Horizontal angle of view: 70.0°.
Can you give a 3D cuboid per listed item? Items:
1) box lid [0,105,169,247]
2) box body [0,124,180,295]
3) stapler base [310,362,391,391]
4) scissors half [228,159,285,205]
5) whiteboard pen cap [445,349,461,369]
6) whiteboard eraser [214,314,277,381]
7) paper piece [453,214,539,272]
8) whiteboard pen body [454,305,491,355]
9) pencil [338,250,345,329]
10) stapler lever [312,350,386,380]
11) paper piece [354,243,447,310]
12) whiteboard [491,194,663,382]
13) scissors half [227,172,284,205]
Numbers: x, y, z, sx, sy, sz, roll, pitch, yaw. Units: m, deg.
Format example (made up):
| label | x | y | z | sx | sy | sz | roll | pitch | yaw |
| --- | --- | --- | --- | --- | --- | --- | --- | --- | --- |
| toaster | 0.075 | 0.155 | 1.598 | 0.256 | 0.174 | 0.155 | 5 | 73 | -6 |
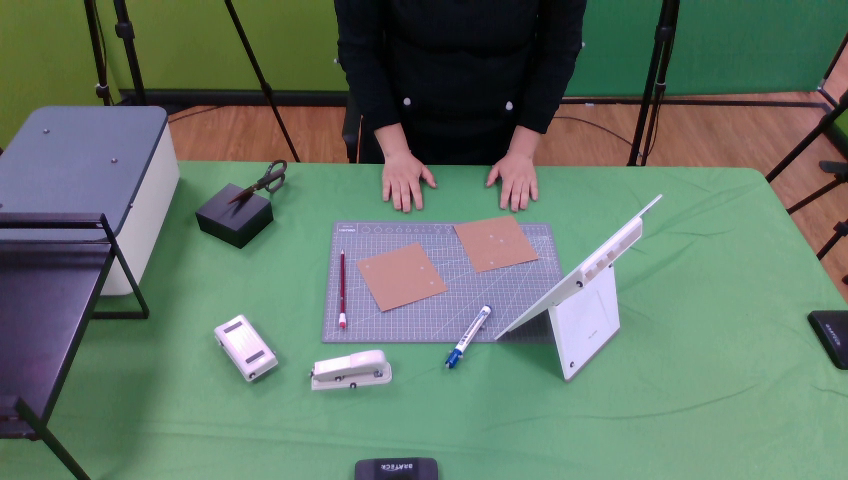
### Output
| label | x | y | z | sx | sy | sz | roll | pitch | yaw |
| --- | --- | --- | --- | --- | --- | --- | --- | --- | --- |
| box lid | -0.624 | -0.125 | 1.067 | 0.263 | 0.015 | 0.369 | 0 | 46 | -3 |
| box body | -0.628 | -0.075 | 1.122 | 0.254 | 0.161 | 0.361 | 1 | 46 | -4 |
| stapler base | -0.119 | 0.215 | 0.981 | 0.131 | 0.024 | 0.041 | -5 | 44 | -7 |
| scissors half | -0.336 | -0.117 | 1.218 | 0.013 | 0.040 | 0.175 | 25 | 46 | 14 |
| whiteboard pen cap | 0.049 | 0.197 | 1.011 | 0.018 | 0.018 | 0.033 | 24 | 49 | 18 |
| whiteboard eraser | -0.292 | 0.176 | 0.990 | 0.055 | 0.042 | 0.112 | -30 | 55 | -31 |
| paper piece | 0.142 | 0.003 | 1.213 | 0.135 | 0.004 | 0.135 | -11 | 47 | -14 |
| whiteboard pen body | 0.079 | 0.163 | 1.047 | 0.017 | 0.017 | 0.140 | 25 | 50 | 19 |
| pencil | -0.152 | 0.085 | 1.108 | 0.012 | 0.012 | 0.192 | -2 | 44 | -7 |
| stapler lever | -0.120 | 0.198 | 0.963 | 0.118 | 0.040 | 0.026 | -4 | 44 | -8 |
| paper piece | -0.045 | 0.066 | 1.137 | 0.136 | 0.009 | 0.137 | -13 | 46 | -23 |
| whiteboard | 0.280 | 0.100 | 0.969 | 0.217 | 0.306 | 0.143 | -33 | 77 | -31 |
| scissors half | -0.339 | -0.101 | 1.230 | 0.013 | 0.040 | 0.175 | 21 | 28 | 17 |
